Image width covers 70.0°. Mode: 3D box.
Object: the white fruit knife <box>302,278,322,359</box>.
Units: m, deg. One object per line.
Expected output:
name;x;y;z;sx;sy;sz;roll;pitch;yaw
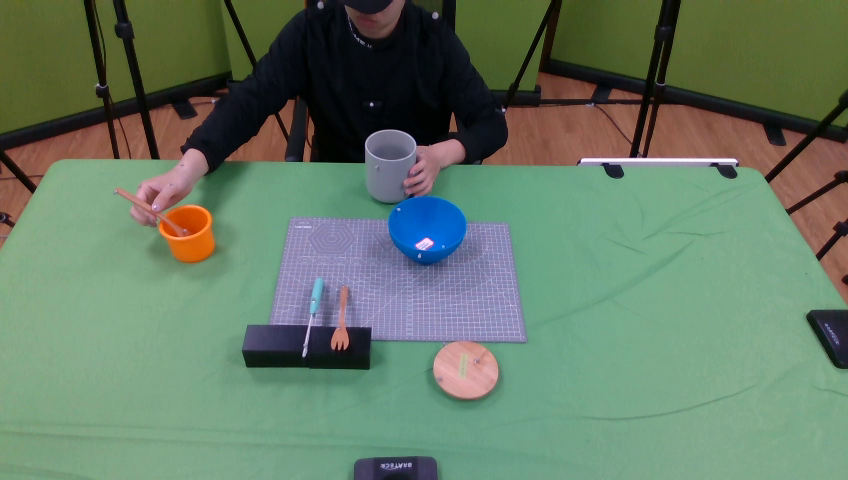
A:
white fruit knife;-0.189;0.126;1.020;0.016;0.027;0.206;0;33;-3

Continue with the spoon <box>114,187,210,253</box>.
spoon;-0.474;-0.037;1.104;0.021;0.195;0.041;-30;34;25

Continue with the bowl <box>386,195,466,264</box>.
bowl;0.002;-0.007;1.162;0.151;0.077;0.150;2;46;-2

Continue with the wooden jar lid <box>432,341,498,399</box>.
wooden jar lid;0.067;0.216;0.997;0.108;0.021;0.107;1;46;-1

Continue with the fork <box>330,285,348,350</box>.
fork;-0.140;0.127;1.021;0.028;0.019;0.206;-5;28;-2
